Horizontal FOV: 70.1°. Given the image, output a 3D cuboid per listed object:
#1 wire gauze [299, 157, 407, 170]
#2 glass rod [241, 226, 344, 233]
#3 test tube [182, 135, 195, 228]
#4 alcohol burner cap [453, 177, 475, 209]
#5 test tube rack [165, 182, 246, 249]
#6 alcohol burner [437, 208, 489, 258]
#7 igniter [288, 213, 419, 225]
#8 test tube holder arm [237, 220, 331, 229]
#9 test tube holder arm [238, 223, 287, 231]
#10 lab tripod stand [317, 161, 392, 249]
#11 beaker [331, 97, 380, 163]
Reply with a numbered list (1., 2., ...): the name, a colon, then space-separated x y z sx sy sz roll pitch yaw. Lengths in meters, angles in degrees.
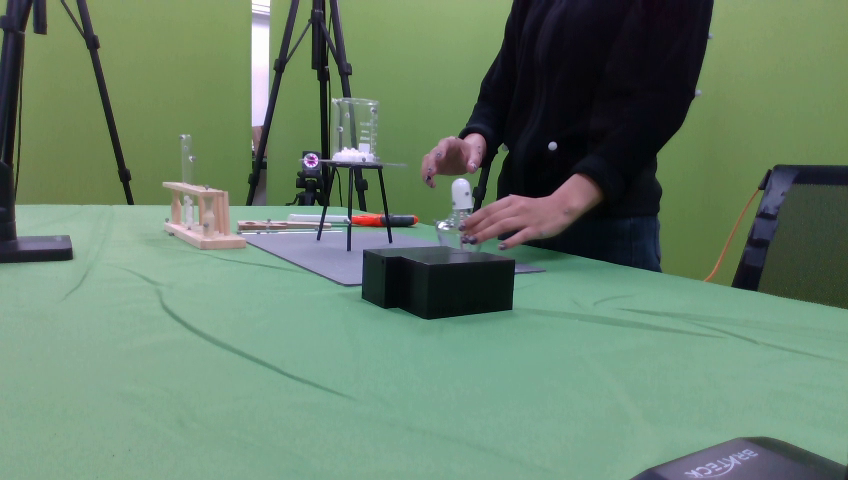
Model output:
1. wire gauze: -0.112 -0.124 0.959 0.121 0.011 0.126 13 12 40
2. glass rod: -0.239 -0.019 1.118 0.201 0.008 0.008 -3 9 -33
3. test tube: -0.382 -0.095 0.983 0.017 0.150 0.017 -1 2 0
4. alcohol burner cap: 0.058 -0.069 0.896 0.034 0.048 0.034 -6 9 1
5. test tube rack: -0.360 -0.045 0.982 0.067 0.085 0.241 -3 9 -34
6. alcohol burner: 0.058 -0.034 0.902 0.078 0.119 0.078 1 9 0
7. igniter: -0.145 -0.044 1.278 0.278 0.025 0.057 -1 -2 -21
8. test tube holder arm: -0.260 -0.028 1.140 0.179 0.015 0.013 -1 41 -32
9. test tube holder arm: -0.296 -0.024 1.112 0.088 0.015 0.010 -1 41 -32
10. lab tripod stand: -0.111 -0.059 0.963 0.148 0.131 0.148 4 8 0
11. beaker: -0.111 -0.171 0.950 0.073 0.100 0.084 12 12 42
